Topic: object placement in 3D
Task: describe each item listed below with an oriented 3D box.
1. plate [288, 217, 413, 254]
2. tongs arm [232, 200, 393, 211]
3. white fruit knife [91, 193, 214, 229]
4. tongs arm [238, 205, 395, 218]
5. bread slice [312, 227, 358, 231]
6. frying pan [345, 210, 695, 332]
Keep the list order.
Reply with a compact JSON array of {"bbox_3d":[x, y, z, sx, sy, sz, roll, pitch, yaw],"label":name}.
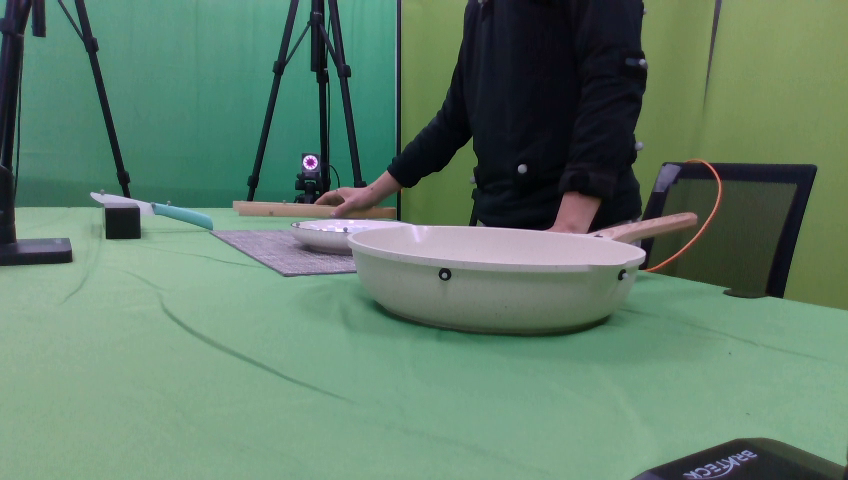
[{"bbox_3d":[-0.109,-0.007,0.956,0.208,0.039,0.207,2,7,0],"label":"plate"},{"bbox_3d":[-0.261,-0.076,1.465,0.386,0.026,0.050,1,6,-21],"label":"tongs arm"},{"bbox_3d":[-0.478,-0.055,1.077,0.208,0.027,0.016,14,-1,-30],"label":"white fruit knife"},{"bbox_3d":[-0.234,-0.066,1.403,0.390,0.028,0.028,-1,4,-30],"label":"tongs arm"},{"bbox_3d":[-0.115,-0.005,0.950,0.134,0.018,0.107,3,6,-7],"label":"bread slice"},{"bbox_3d":[0.153,0.009,0.668,0.490,0.102,0.305,-12,15,-32],"label":"frying pan"}]
